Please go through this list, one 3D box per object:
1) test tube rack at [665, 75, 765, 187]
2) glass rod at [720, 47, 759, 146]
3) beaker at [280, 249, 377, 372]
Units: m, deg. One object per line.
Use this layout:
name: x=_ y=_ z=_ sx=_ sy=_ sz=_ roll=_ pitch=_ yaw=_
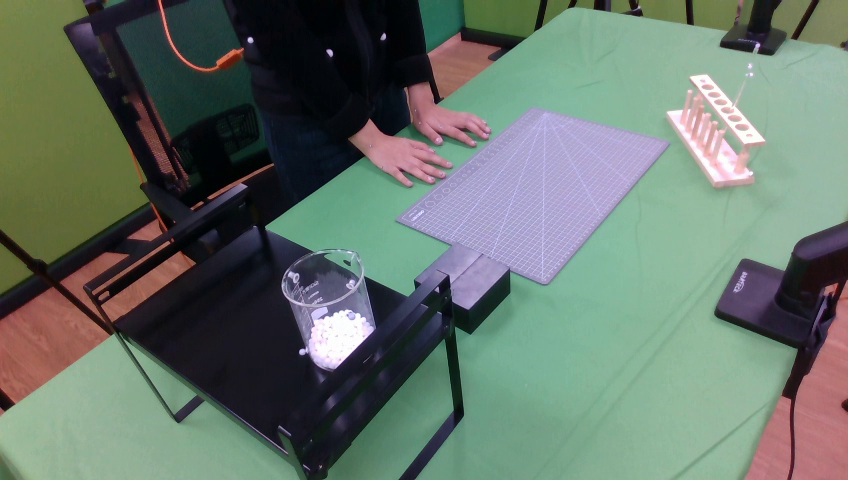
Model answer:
test tube rack: x=0.512 y=-0.201 z=1.082 sx=0.067 sy=0.085 sz=0.241 roll=-6 pitch=41 yaw=2
glass rod: x=0.527 y=-0.234 z=1.018 sx=0.008 sy=0.200 sz=0.008 roll=-2 pitch=48 yaw=3
beaker: x=-0.084 y=0.068 z=0.572 sx=0.073 sy=0.101 sz=0.084 roll=20 pitch=47 yaw=28
